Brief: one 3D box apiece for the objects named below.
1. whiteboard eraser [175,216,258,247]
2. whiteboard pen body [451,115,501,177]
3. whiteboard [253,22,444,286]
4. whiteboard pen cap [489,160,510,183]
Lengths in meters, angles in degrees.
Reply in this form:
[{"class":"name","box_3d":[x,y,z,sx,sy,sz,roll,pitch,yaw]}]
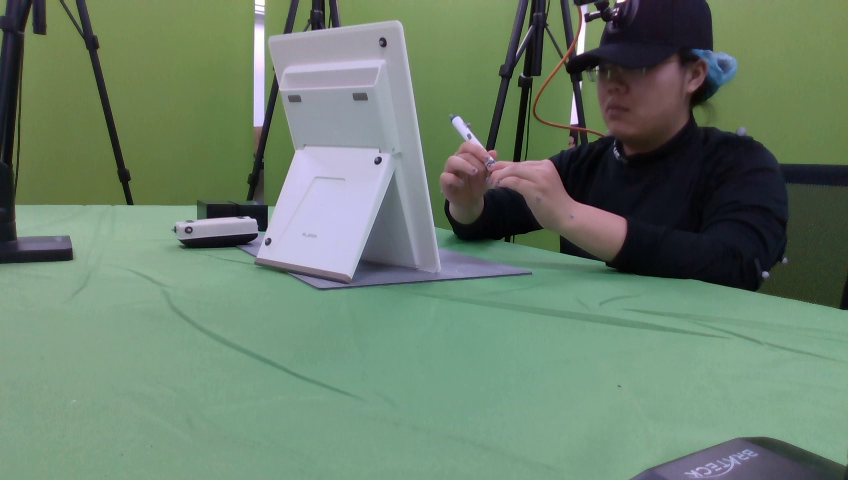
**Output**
[{"class":"whiteboard eraser","box_3d":[-0.313,-0.012,0.915,0.113,0.042,0.055,-5,12,-30]},{"class":"whiteboard pen body","box_3d":[0.078,-0.140,0.902,0.017,0.017,0.140,-3,47,-37]},{"class":"whiteboard","box_3d":[-0.125,-0.081,0.715,0.216,0.305,0.144,9,29,36]},{"class":"whiteboard pen cap","box_3d":[0.109,-0.098,0.869,0.018,0.033,0.018,-33,10,7]}]
